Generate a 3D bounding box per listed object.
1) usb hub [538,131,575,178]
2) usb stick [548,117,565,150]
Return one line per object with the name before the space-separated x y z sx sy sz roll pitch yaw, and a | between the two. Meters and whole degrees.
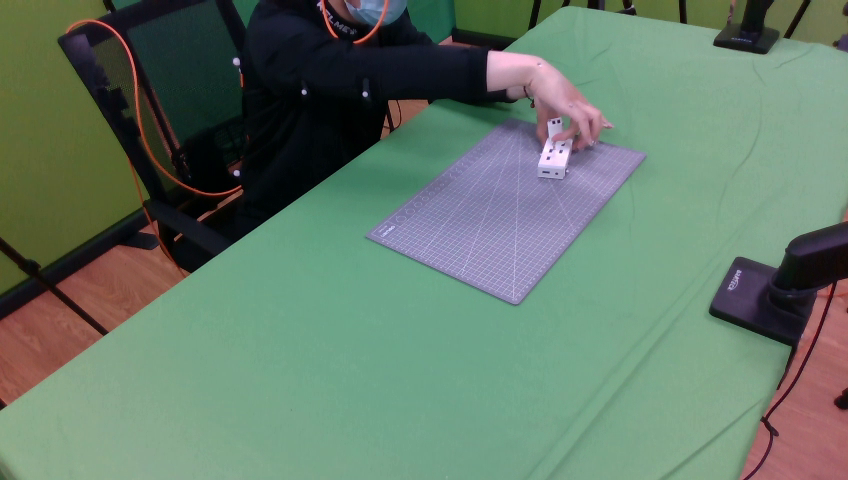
usb hub | 0.245 -0.159 1.112 0.049 0.025 0.125 9 44 18
usb stick | 0.236 -0.187 1.073 0.027 0.059 0.021 -7 44 11
